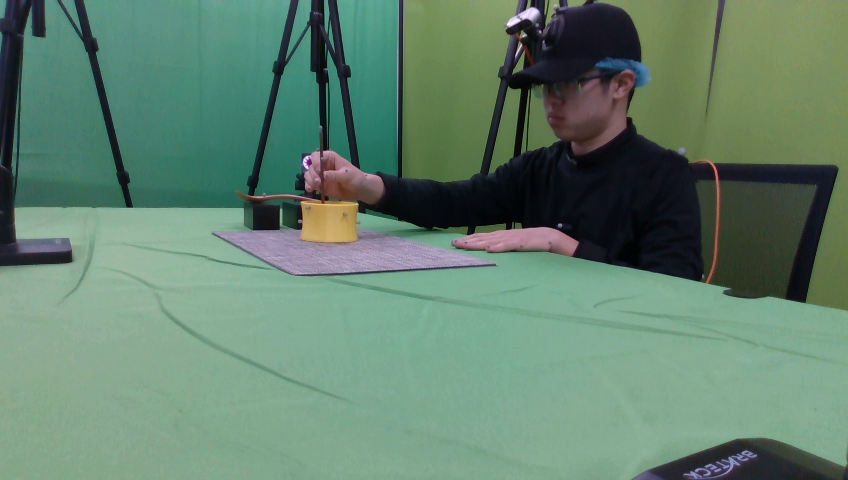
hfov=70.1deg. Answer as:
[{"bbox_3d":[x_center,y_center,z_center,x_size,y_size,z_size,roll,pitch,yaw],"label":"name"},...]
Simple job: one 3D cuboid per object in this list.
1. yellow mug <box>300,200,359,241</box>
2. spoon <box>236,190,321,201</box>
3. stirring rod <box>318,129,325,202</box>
[{"bbox_3d":[-0.156,-0.037,1.060,0.099,0.064,0.131,5,7,27],"label":"yellow mug"},{"bbox_3d":[-0.290,-0.088,1.248,0.195,0.021,0.041,0,6,-32],"label":"spoon"},{"bbox_3d":[-0.172,-0.097,1.018,0.006,0.176,0.014,-1,8,-3],"label":"stirring rod"}]
